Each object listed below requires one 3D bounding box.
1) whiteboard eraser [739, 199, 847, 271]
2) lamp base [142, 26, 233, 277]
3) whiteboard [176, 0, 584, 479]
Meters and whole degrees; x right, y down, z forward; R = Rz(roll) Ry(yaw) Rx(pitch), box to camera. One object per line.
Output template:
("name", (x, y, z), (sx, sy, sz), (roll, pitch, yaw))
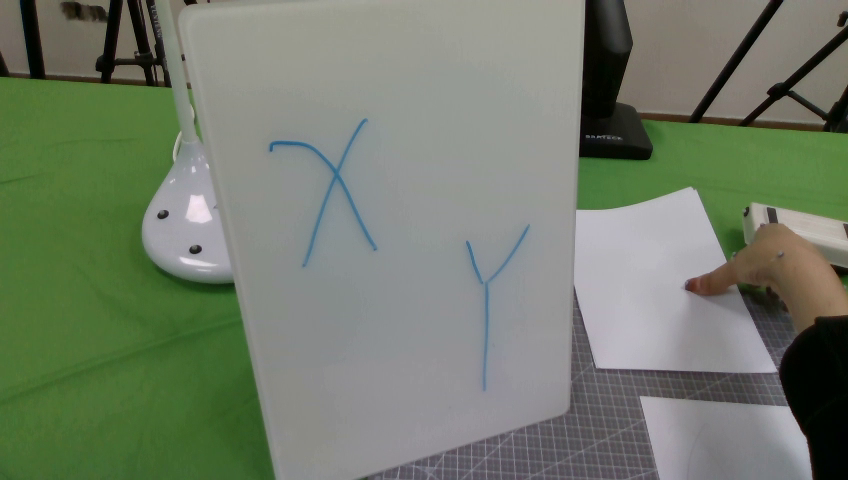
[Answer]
("whiteboard eraser", (0.378, -0.004, 0.608), (0.112, 0.042, 0.055), (15, 44, 11))
("lamp base", (-0.192, -0.085, 0.541), (0.177, 0.182, 0.160), (33, 49, 31))
("whiteboard", (-0.023, -0.013, 0.424), (0.218, 0.307, 0.142), (-11, 25, -16))
